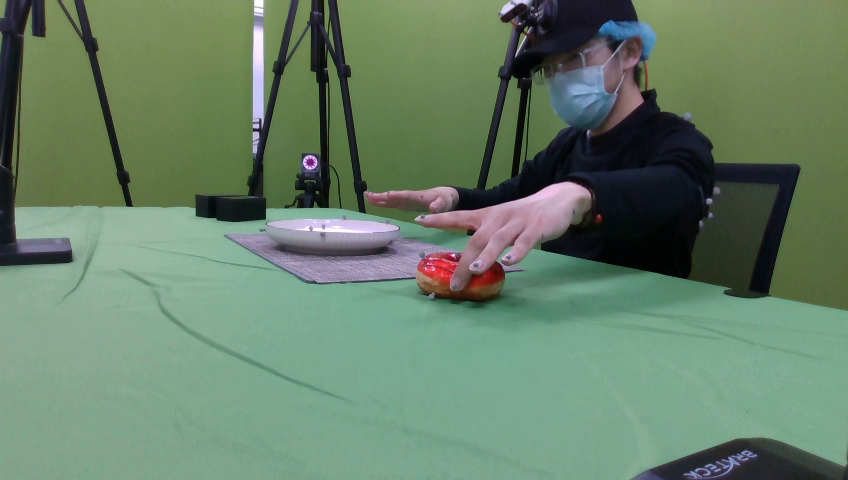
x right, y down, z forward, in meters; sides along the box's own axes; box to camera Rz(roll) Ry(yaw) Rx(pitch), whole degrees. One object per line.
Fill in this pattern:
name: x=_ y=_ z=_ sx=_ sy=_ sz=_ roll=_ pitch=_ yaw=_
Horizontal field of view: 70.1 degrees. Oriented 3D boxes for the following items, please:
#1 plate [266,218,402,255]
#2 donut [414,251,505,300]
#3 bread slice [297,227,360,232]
plate: x=-0.138 y=-0.006 z=0.940 sx=0.208 sy=0.039 sz=0.207 roll=2 pitch=7 yaw=0
donut: x=0.038 y=0.039 z=0.650 sx=0.099 sy=0.048 sz=0.099 roll=4 pitch=8 yaw=0
bread slice: x=-0.142 y=-0.005 z=0.939 sx=0.131 sy=0.019 sz=0.105 roll=8 pitch=8 yaw=33
